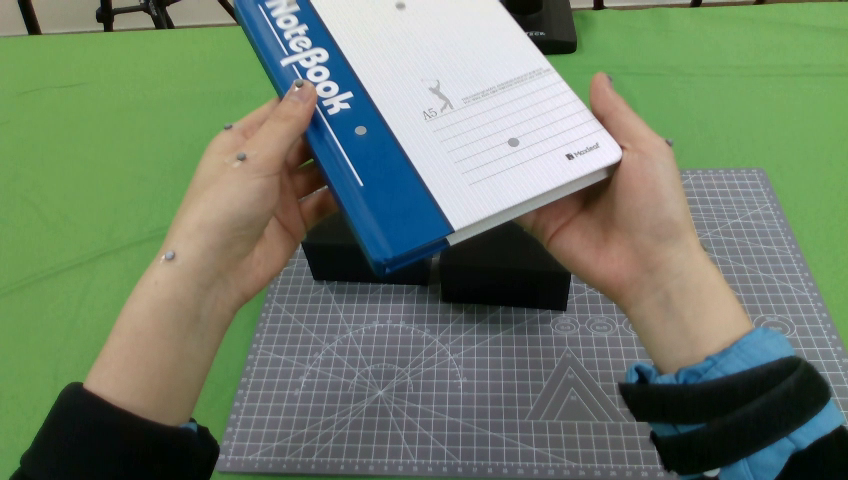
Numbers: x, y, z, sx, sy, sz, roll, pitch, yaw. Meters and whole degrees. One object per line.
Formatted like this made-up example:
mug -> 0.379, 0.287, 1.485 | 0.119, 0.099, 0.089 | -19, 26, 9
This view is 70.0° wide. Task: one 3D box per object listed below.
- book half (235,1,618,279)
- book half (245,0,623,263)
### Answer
book half -> -0.005, -0.090, 0.353 | 0.149, 0.016, 0.208 | -22, 63, -16
book half -> -0.003, -0.095, 0.349 | 0.143, 0.007, 0.208 | -23, 62, -14
